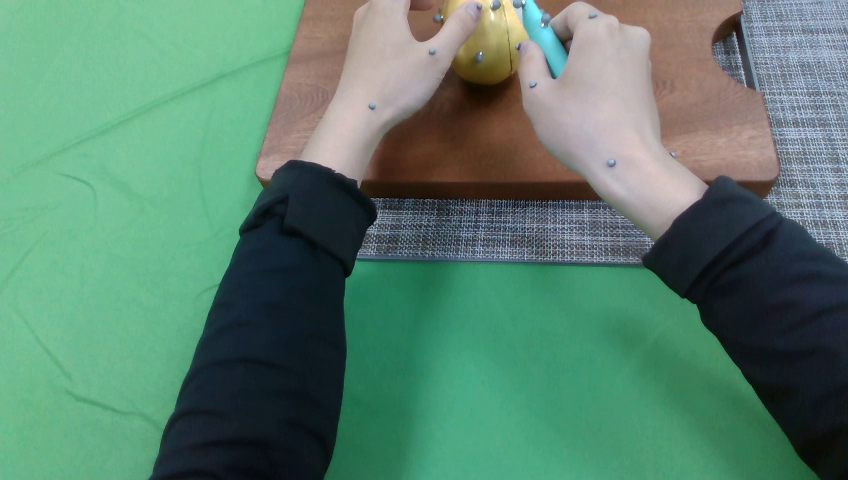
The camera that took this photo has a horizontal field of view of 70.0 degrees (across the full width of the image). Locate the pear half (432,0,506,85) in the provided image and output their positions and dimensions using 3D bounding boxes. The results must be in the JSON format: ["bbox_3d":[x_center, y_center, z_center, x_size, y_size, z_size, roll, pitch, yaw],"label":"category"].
[{"bbox_3d":[0.033,-0.174,0.477,0.056,0.111,0.075,-18,54,1],"label":"pear half"}]

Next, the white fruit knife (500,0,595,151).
[{"bbox_3d":[0.067,-0.154,0.420,0.016,0.027,0.206,-18,71,-13],"label":"white fruit knife"}]

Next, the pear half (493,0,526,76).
[{"bbox_3d":[0.069,-0.176,0.485,0.031,0.089,0.069,-17,56,-1],"label":"pear half"}]
